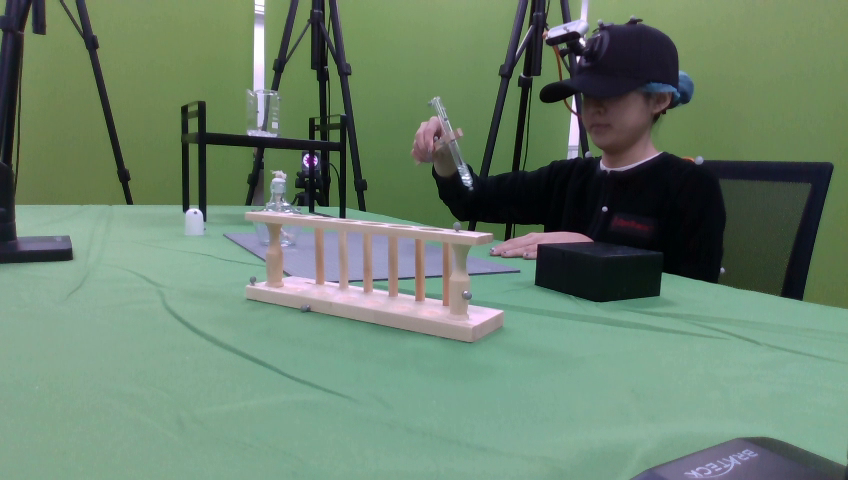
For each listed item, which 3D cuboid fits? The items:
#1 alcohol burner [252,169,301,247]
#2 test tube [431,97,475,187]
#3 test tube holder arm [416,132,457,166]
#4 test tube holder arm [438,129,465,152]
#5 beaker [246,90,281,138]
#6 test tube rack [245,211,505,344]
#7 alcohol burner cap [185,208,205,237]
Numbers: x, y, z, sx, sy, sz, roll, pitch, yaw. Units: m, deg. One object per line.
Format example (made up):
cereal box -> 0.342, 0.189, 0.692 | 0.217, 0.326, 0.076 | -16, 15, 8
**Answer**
alcohol burner -> -0.227, -0.050, 0.937 | 0.078, 0.119, 0.078 | 1, 7, 0
test tube -> 0.047, -0.154, 0.956 | 0.017, 0.150, 0.017 | -23, 2, 1
test tube holder arm -> 0.017, -0.151, 1.017 | 0.013, 0.015, 0.178 | -22, 1, -21
test tube holder arm -> 0.039, -0.159, 0.978 | 0.010, 0.015, 0.087 | -23, 1, -29
beaker -> -0.354, -0.275, 1.322 | 0.074, 0.100, 0.084 | 4, 8, 12
test tube rack -> -0.049, 0.025, 0.547 | 0.241, 0.085, 0.067 | 7, 8, 29
alcohol burner cap -> -0.391, -0.031, 1.032 | 0.034, 0.048, 0.034 | 3, 8, 0
